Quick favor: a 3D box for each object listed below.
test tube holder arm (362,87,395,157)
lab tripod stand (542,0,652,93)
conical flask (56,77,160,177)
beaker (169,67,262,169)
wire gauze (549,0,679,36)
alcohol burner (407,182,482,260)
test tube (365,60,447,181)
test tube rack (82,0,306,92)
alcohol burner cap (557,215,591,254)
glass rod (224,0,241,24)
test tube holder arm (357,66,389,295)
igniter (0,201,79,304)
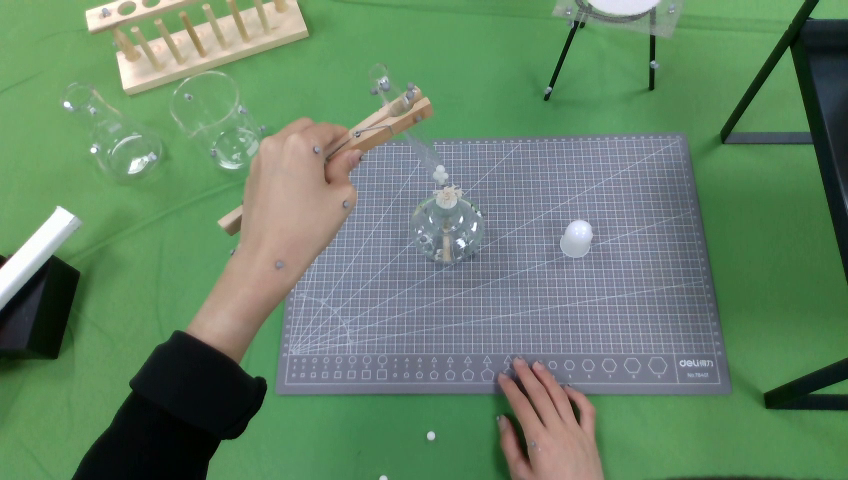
[{"bbox_3d":[-0.036,-0.085,0.465,0.015,0.088,0.010,5,62,-11],"label":"test tube holder arm"},{"bbox_3d":[0.203,-0.241,0.688,0.148,0.132,0.147,-1,66,2],"label":"lab tripod stand"},{"bbox_3d":[-0.358,-0.130,0.681,0.075,0.123,0.075,-1,67,4],"label":"conical flask"},{"bbox_3d":[-0.232,-0.131,0.686,0.074,0.101,0.083,14,69,10],"label":"beaker"},{"bbox_3d":[0.206,-0.269,0.626,0.121,0.011,0.124,20,71,10],"label":"wire gauze"},{"bbox_3d":[0.021,-0.025,0.616,0.078,0.120,0.077,-1,66,1],"label":"alcohol burner"},{"bbox_3d":[-0.010,-0.089,0.483,0.017,0.152,0.017,-8,63,17],"label":"test tube"},{"bbox_3d":[-0.280,-0.273,0.756,0.242,0.086,0.066,-20,67,-5],"label":"test tube rack"},{"bbox_3d":[0.160,-0.009,0.639,0.034,0.048,0.033,-1,67,3],"label":"alcohol burner cap"},{"bbox_3d":[-0.260,-0.333,0.708,0.008,0.201,0.008,-5,60,8],"label":"glass rod"},{"bbox_3d":[-0.041,-0.045,0.476,0.015,0.013,0.178,3,92,-15],"label":"test tube holder arm"},{"bbox_3d":[-0.452,0.075,0.600,0.057,0.025,0.275,26,70,23],"label":"igniter"}]
